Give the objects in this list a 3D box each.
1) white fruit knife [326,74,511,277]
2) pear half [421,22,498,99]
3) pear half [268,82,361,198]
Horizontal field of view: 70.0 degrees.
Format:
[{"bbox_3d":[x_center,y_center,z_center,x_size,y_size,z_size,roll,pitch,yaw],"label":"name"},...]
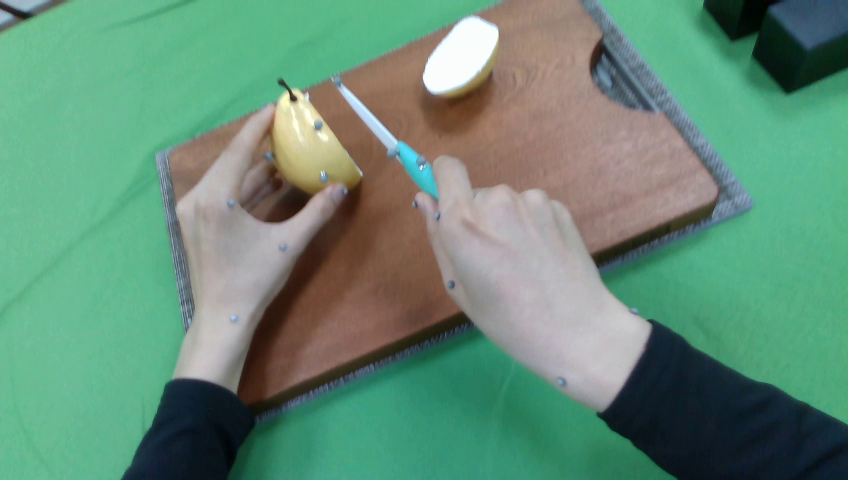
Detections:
[{"bbox_3d":[-0.012,-0.053,0.399,0.016,0.028,0.205,-34,60,-15],"label":"white fruit knife"},{"bbox_3d":[0.035,-0.149,0.518,0.070,0.031,0.087,-6,48,27],"label":"pear half"},{"bbox_3d":[-0.096,-0.075,0.466,0.056,0.111,0.075,-40,54,-9],"label":"pear half"}]
